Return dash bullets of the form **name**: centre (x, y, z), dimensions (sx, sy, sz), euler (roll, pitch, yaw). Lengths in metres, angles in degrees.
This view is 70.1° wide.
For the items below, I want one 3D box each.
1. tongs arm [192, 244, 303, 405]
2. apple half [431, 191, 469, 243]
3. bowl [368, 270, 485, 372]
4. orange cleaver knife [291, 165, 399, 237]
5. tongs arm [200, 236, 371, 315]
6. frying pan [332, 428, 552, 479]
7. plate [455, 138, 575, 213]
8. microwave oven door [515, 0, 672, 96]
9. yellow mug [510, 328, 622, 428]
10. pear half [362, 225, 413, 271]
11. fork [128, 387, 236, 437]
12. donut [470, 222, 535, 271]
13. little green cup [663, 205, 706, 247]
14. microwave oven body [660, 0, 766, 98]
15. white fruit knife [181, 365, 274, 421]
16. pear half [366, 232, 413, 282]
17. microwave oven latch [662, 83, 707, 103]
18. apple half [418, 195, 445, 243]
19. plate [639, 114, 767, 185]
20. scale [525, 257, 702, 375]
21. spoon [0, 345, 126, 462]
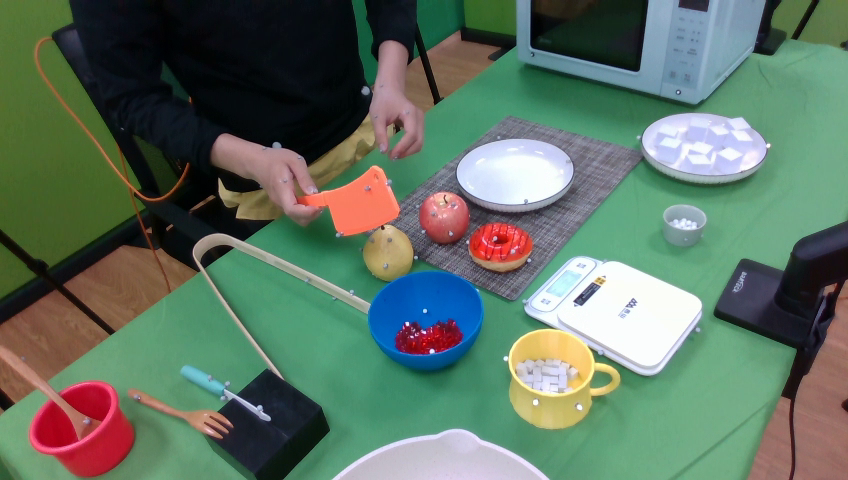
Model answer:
- **tongs arm**: centre (-0.268, 0.111, 0.883), dimensions (0.028, 0.028, 0.384), euler (-36, 47, -18)
- **apple half**: centre (0.045, -0.038, 0.968), dimensions (0.053, 0.075, 0.080), euler (-14, 37, -11)
- **bowl**: centre (0.007, 0.119, 0.791), dimensions (0.151, 0.077, 0.150), euler (-5, 39, 4)
- **orange cleaver knife**: centre (-0.106, -0.043, 0.780), dimensions (0.210, 0.077, 0.012), euler (-9, 6, 46)
- **tongs arm**: centre (-0.209, 0.062, 0.924), dimensions (0.381, 0.027, 0.051), euler (23, 54, 32)
- **frying pan**: centre (-0.089, 0.306, 0.564), dimensions (0.487, 0.103, 0.306), euler (10, 41, 7)
- **plate**: centre (0.159, -0.111, 1.063), dimensions (0.209, 0.038, 0.208), euler (-4, 40, 4)
- **microwave oven door**: centre (0.343, -0.455, 1.259), dimensions (0.353, 0.245, 0.039), euler (26, 51, 33)
- **yellow mug**: centre (0.168, 0.164, 0.722), dimensions (0.130, 0.064, 0.099), euler (0, 40, 8)
- **pear half**: centre (-0.059, 0.002, 0.913), dimensions (0.076, 0.110, 0.055), euler (-13, 42, -12)
- **fork**: centre (-0.305, 0.207, 0.744), dimensions (0.206, 0.019, 0.028), euler (3, 40, 36)
- **donut**: centre (0.119, 0.009, 0.923), dimensions (0.099, 0.048, 0.098), euler (-4, 38, 3)
- **little green cup**: centre (0.396, -0.020, 0.926), dimensions (0.061, 0.039, 0.061), euler (-4, 40, 4)
- **microwave oven body**: centre (0.472, -0.513, 1.317), dimensions (0.438, 0.261, 0.327), euler (26, 51, 34)
- **white fruit knife**: centre (-0.245, 0.188, 0.747), dimensions (0.205, 0.027, 0.016), euler (9, 41, 41)
- **pear half**: centre (-0.048, 0.031, 0.893), dimensions (0.071, 0.088, 0.031), euler (-15, 40, -13)
- **microwave oven latch**: centre (0.517, -0.296, 1.204), dimensions (0.078, 0.029, 0.030), euler (28, 52, 35)
- **apple half**: centre (0.008, -0.028, 0.959), dimensions (0.033, 0.081, 0.080), euler (-14, 41, -11)
- **plate**: centre (0.489, -0.157, 1.074), dimensions (0.207, 0.039, 0.206), euler (-4, 40, 4)
- **scale**: centre (0.254, 0.091, 0.821), dimensions (0.199, 0.032, 0.149), euler (28, 51, 35)
- **spoon**: centre (-0.434, 0.192, 0.720), dimensions (0.194, 0.021, 0.042), euler (47, 54, -7)
